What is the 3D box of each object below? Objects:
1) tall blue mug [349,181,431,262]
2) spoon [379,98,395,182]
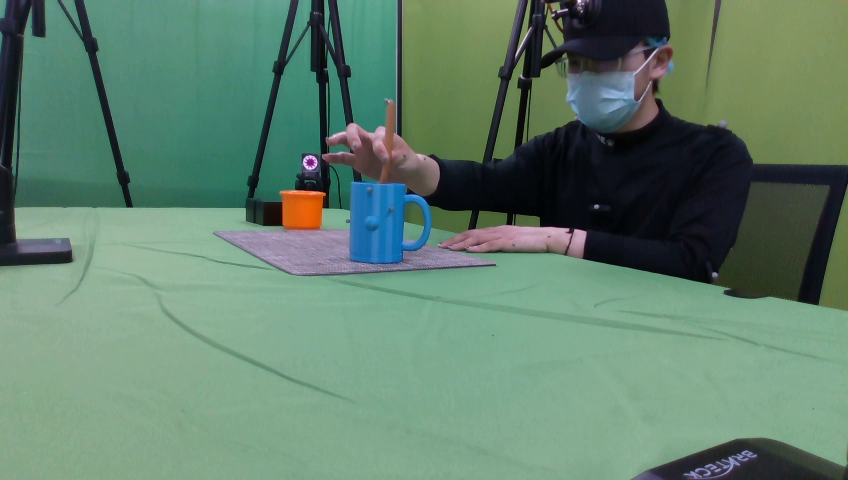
[{"bbox_3d":[-0.052,-0.028,0.849,0.108,0.108,0.077,-1,7,-22],"label":"tall blue mug"},{"bbox_3d":[-0.056,-0.102,0.853,0.042,0.193,0.021,5,8,-35],"label":"spoon"}]
